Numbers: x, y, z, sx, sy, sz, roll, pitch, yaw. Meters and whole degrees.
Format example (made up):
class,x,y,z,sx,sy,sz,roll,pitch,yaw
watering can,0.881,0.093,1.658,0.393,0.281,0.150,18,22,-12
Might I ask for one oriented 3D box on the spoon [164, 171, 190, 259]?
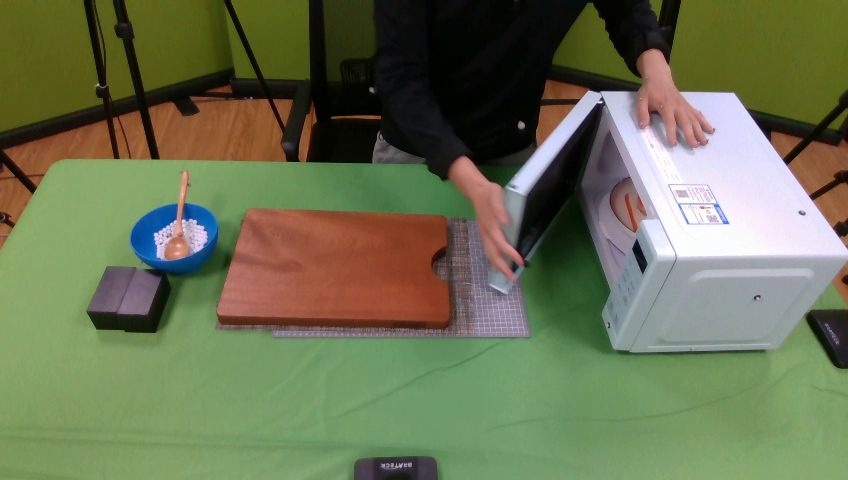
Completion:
class,x,y,z,sx,sy,sz,roll,pitch,yaw
spoon,-0.452,-0.046,1.129,0.041,0.022,0.193,-1,69,-2

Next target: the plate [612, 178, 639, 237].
class,x,y,z,sx,sy,sz,roll,pitch,yaw
plate,0.473,-0.049,1.185,0.208,0.039,0.206,-1,45,1

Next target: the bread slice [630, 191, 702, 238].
class,x,y,z,sx,sy,sz,roll,pitch,yaw
bread slice,0.477,-0.050,1.190,0.131,0.019,0.104,15,45,12

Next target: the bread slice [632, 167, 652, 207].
class,x,y,z,sx,sy,sz,roll,pitch,yaw
bread slice,0.462,-0.090,1.137,0.134,0.018,0.106,7,43,-14

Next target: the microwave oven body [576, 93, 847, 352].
class,x,y,z,sx,sy,sz,roll,pitch,yaw
microwave oven body,0.475,-0.042,1.109,0.326,0.261,0.438,-1,45,-4

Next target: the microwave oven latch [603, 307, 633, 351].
class,x,y,z,sx,sy,sz,roll,pitch,yaw
microwave oven latch,0.332,0.153,1.044,0.030,0.029,0.078,0,45,-3

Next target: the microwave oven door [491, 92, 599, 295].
class,x,y,z,sx,sy,sz,roll,pitch,yaw
microwave oven door,0.232,-0.094,1.135,0.039,0.245,0.355,25,49,19

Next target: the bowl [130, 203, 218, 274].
class,x,y,z,sx,sy,sz,roll,pitch,yaw
bowl,-0.450,0.010,1.116,0.151,0.077,0.150,2,45,-2

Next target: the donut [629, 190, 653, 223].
class,x,y,z,sx,sy,sz,roll,pitch,yaw
donut,0.444,-0.059,1.163,0.099,0.048,0.098,1,49,-1
